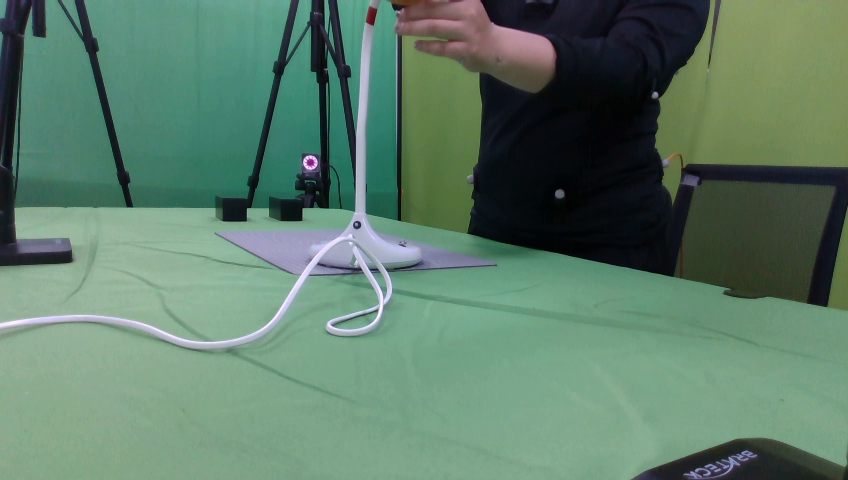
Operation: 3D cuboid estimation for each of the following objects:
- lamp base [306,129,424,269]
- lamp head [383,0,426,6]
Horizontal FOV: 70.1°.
[{"bbox_3d":[-0.077,-0.057,0.810,0.161,0.180,0.179,2,10,-4],"label":"lamp base"},{"bbox_3d":[-0.025,-0.325,0.671,0.112,0.123,0.112,4,3,0],"label":"lamp head"}]
